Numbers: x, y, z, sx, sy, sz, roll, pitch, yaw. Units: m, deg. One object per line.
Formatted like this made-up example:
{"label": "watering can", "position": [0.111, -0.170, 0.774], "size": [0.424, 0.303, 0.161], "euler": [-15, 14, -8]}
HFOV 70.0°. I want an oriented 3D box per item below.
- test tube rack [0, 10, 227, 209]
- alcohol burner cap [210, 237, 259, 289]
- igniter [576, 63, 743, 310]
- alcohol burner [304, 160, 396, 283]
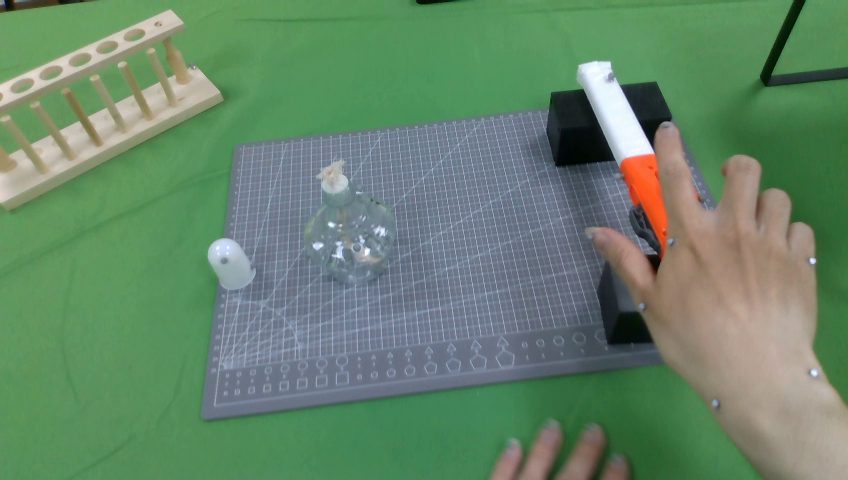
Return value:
{"label": "test tube rack", "position": [-0.340, -0.138, 0.626], "size": [0.242, 0.086, 0.066], "euler": [-34, 58, -19]}
{"label": "alcohol burner cap", "position": [-0.165, 0.017, 0.522], "size": [0.034, 0.048, 0.033], "euler": [-2, 55, 4]}
{"label": "igniter", "position": [0.182, -0.058, 0.498], "size": [0.057, 0.025, 0.273], "euler": [-10, 52, -1]}
{"label": "alcohol burner", "position": [-0.063, -0.018, 0.494], "size": [0.078, 0.120, 0.077], "euler": [-3, 51, 4]}
